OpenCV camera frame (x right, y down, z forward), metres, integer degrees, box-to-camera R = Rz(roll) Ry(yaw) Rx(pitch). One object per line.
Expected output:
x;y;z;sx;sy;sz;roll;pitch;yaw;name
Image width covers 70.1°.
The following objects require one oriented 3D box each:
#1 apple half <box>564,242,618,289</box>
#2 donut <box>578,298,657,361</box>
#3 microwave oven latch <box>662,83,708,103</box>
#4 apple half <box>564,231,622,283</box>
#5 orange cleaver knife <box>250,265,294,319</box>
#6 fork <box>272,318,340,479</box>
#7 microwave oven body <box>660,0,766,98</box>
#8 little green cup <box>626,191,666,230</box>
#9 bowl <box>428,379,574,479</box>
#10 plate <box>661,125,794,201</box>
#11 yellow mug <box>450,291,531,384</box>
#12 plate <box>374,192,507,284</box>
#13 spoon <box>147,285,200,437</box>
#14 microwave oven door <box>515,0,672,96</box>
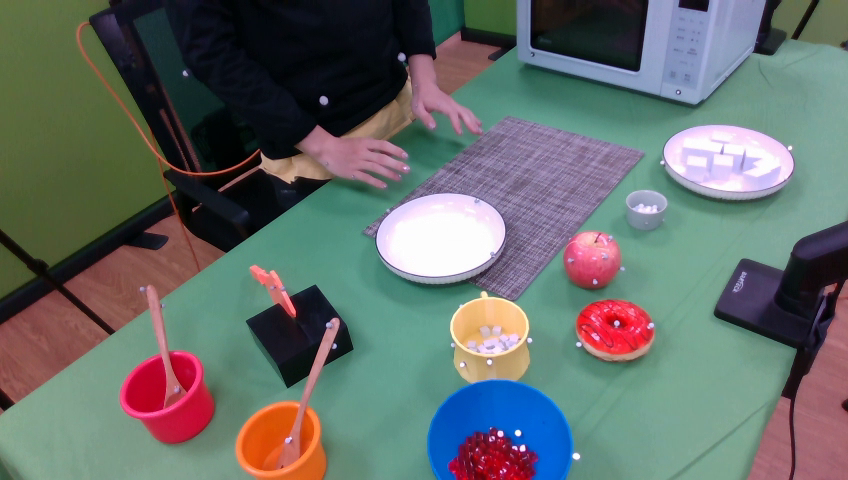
0.229;0.044;0.848;0.081;0.081;0.033;16;41;26;apple half
0.250;0.115;0.786;0.099;0.048;0.098;-5;37;4;donut
0.518;-0.296;1.204;0.078;0.029;0.030;27;52;35;microwave oven latch
0.248;0.021;0.874;0.080;0.075;0.053;13;40;28;apple half
-0.221;0.073;0.876;0.012;0.077;0.210;-24;13;-22;orange cleaver knife
-0.131;0.186;0.676;0.028;0.019;0.207;18;90;28;fork
0.472;-0.513;1.317;0.438;0.261;0.327;26;51;34;microwave oven body
0.352;-0.046;0.963;0.061;0.039;0.061;-4;40;4;little green cup
0.082;0.233;0.644;0.151;0.077;0.150;-4;39;4;bowl
0.513;-0.128;1.035;0.207;0.039;0.206;-4;40;4;plate
0.085;0.120;0.786;0.100;0.064;0.130;-7;39;1;yellow mug
0.027;0.000;0.952;0.209;0.038;0.208;-4;40;4;plate
-0.318;0.148;0.754;0.042;0.021;0.193;-15;85;-11;spoon
0.343;-0.454;1.259;0.353;0.245;0.039;26;51;33;microwave oven door
